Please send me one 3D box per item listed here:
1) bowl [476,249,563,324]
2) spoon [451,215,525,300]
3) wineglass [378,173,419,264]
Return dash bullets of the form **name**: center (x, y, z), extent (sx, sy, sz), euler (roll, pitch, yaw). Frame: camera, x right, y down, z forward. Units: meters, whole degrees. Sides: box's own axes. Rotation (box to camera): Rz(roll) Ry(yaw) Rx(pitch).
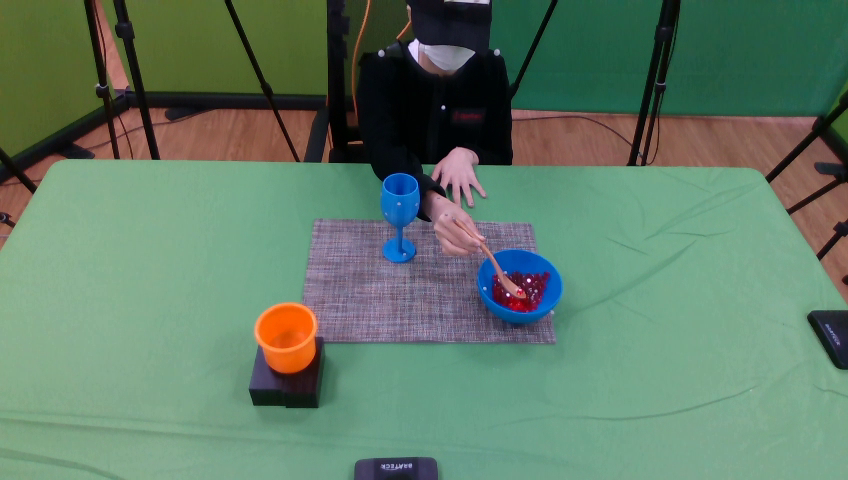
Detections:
- **bowl**: center (0.164, 0.096, 1.073), extent (0.151, 0.077, 0.150), euler (2, 46, -2)
- **spoon**: center (0.110, 0.031, 1.047), extent (0.194, 0.021, 0.041), euler (53, 25, -9)
- **wineglass**: center (-0.047, -0.037, 1.121), extent (0.074, 0.173, 0.073), euler (2, 46, -2)
